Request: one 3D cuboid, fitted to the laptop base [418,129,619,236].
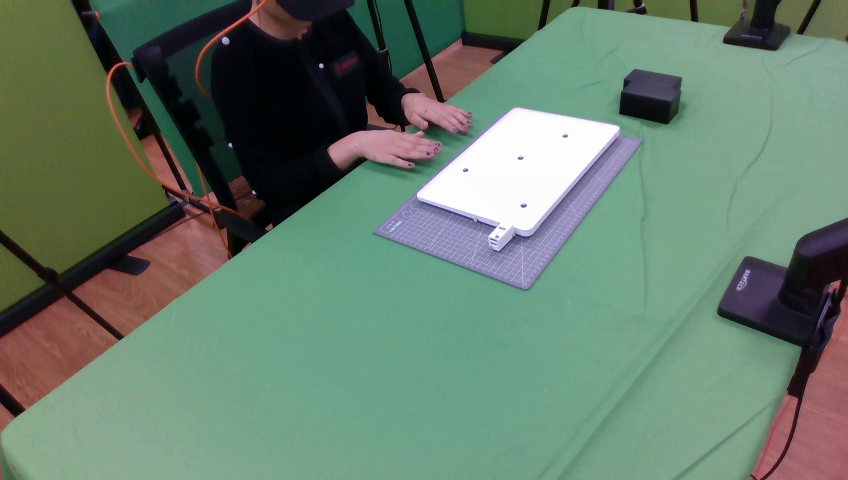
[{"bbox_3d":[0.180,-0.137,1.112,0.233,0.023,0.355,19,47,33],"label":"laptop base"}]

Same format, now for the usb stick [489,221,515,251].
[{"bbox_3d":[0.127,-0.011,0.954,0.021,0.027,0.059,22,47,34],"label":"usb stick"}]

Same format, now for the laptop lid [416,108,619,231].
[{"bbox_3d":[0.177,-0.147,1.106,0.239,0.013,0.357,21,48,34],"label":"laptop lid"}]
